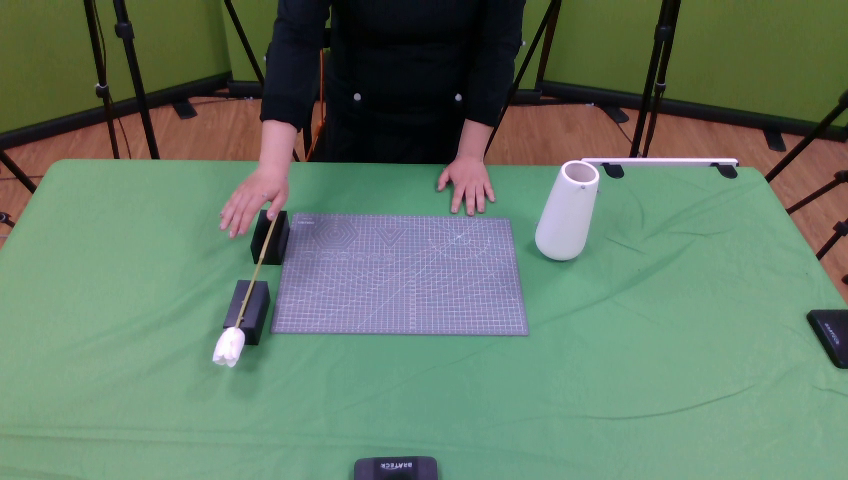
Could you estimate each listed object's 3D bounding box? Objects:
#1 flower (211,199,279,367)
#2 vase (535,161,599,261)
[{"bbox_3d":[-0.297,0.056,1.055,0.044,0.038,0.359,-16,44,24],"label":"flower"},{"bbox_3d":[0.270,-0.051,1.145,0.098,0.201,0.097,1,46,-1],"label":"vase"}]
